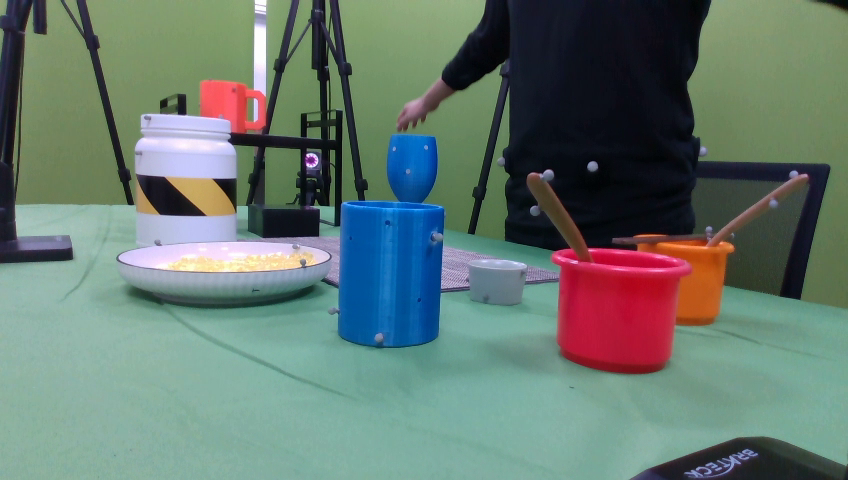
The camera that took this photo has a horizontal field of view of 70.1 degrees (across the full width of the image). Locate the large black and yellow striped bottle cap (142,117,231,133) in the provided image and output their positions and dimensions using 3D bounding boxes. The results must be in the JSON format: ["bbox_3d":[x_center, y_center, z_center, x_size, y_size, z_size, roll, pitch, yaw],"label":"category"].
[{"bbox_3d":[-0.328,-0.159,0.839,0.115,0.019,0.115,1,8,0],"label":"large black and yellow striped bottle cap"}]

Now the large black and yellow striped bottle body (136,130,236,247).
[{"bbox_3d":[-0.332,-0.076,0.851,0.131,0.184,0.130,3,8,0],"label":"large black and yellow striped bottle body"}]

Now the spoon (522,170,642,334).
[{"bbox_3d":[0.110,0.016,0.424,0.041,0.021,0.194,7,-36,43],"label":"spoon"}]

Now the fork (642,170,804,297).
[{"bbox_3d":[0.261,0.004,0.545,0.028,0.018,0.207,6,-38,-15],"label":"fork"}]

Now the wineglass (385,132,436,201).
[{"bbox_3d":[-0.020,-0.061,0.842,0.074,0.172,0.073,2,7,0],"label":"wineglass"}]

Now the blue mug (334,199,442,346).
[{"bbox_3d":[-0.035,0.020,0.498,0.083,0.106,0.116,0,7,-20],"label":"blue mug"}]

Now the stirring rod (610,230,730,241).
[{"bbox_3d":[0.241,-0.005,0.582,0.177,0.006,0.014,-3,9,-34],"label":"stirring rod"}]

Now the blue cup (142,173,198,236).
[{"bbox_3d":[-0.425,-0.060,1.014,0.093,0.100,0.092,4,9,0],"label":"blue cup"}]

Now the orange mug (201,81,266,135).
[{"bbox_3d":[-0.377,-0.260,1.198,0.126,0.101,0.083,-3,8,-6],"label":"orange mug"}]

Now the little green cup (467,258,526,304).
[{"bbox_3d":[0.074,0.042,0.626,0.061,0.038,0.061,3,7,0],"label":"little green cup"}]

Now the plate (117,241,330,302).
[{"bbox_3d":[-0.203,0.031,0.630,0.209,0.038,0.209,3,7,0],"label":"plate"}]
